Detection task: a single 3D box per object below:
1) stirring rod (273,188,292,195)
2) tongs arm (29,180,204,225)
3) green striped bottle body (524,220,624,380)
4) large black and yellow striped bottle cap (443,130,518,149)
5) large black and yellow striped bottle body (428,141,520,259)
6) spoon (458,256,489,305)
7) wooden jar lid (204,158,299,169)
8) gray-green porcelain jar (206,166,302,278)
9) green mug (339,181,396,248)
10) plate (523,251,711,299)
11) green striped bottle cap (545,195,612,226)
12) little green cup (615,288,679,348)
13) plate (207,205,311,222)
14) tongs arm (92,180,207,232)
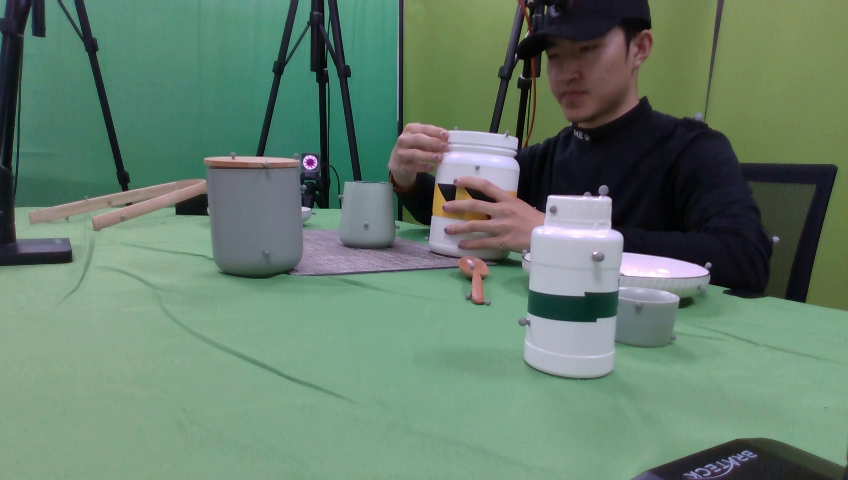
[{"bbox_3d":[-0.353,-0.122,1.518,0.006,0.014,0.176,1,6,1],"label":"stirring rod"},{"bbox_3d":[-0.609,-0.083,1.245,0.050,0.026,0.386,5,16,23],"label":"tongs arm"},{"bbox_3d":[0.104,0.031,0.421,0.063,0.119,0.063,2,8,0],"label":"green striped bottle body"},{"bbox_3d":[0.086,-0.153,0.927,0.115,0.019,0.115,6,5,0],"label":"large black and yellow striped bottle cap"},{"bbox_3d":[0.079,-0.068,0.936,0.131,0.184,0.130,5,5,0],"label":"large black and yellow striped bottle body"},{"bbox_3d":[0.059,0.044,0.695,0.041,0.021,0.194,19,7,0],"label":"spoon"},{"bbox_3d":[-0.202,-0.086,0.714,0.108,0.020,0.108,3,11,0],"label":"wooden jar lid"},{"bbox_3d":[-0.201,-0.024,0.724,0.106,0.126,0.106,-1,9,1],"label":"gray-green porcelain jar"},{"bbox_3d":[-0.097,-0.044,0.995,0.093,0.105,0.125,-1,8,-21],"label":"green mug"},{"bbox_3d":[0.219,0.041,0.706,0.209,0.038,0.209,2,7,0],"label":"plate"},{"bbox_3d":[0.105,-0.020,0.414,0.044,0.020,0.044,2,4,0],"label":"green striped bottle cap"},{"bbox_3d":[0.180,0.064,0.506,0.061,0.038,0.061,1,8,0],"label":"little green cup"},{"bbox_3d":[-0.342,-0.050,1.259,0.208,0.039,0.207,3,8,0],"label":"plate"},{"bbox_3d":[-0.534,-0.076,1.222,0.028,0.028,0.388,-2,15,12],"label":"tongs arm"}]
